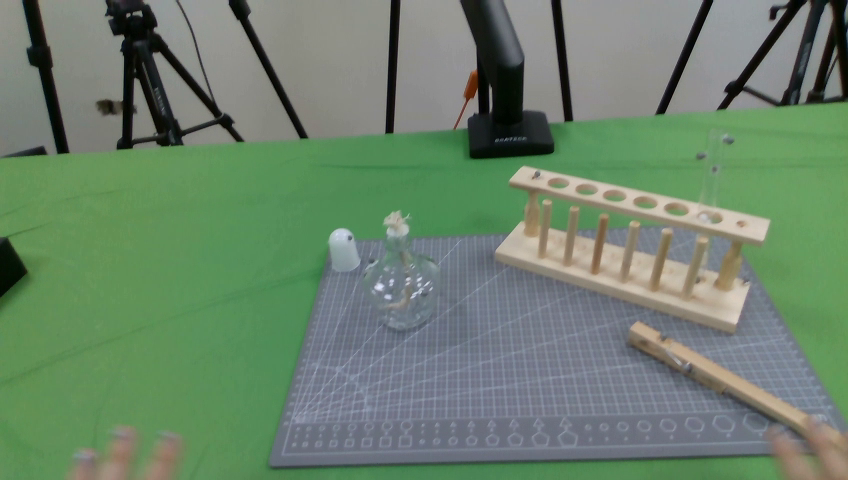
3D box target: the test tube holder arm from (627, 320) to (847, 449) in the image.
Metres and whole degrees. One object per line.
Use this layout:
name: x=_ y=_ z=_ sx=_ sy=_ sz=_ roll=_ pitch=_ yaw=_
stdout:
test tube holder arm: x=0.249 y=0.113 z=0.494 sx=0.176 sy=0.013 sz=0.015 roll=28 pitch=53 yaw=36

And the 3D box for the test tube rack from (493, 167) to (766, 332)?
test tube rack: x=0.191 y=0.002 z=0.601 sx=0.240 sy=0.086 sz=0.066 roll=17 pitch=42 yaw=28

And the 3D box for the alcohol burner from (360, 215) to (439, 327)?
alcohol burner: x=-0.025 y=0.025 z=0.574 sx=0.078 sy=0.120 sz=0.077 roll=-2 pitch=38 yaw=2

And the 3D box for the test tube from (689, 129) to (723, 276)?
test tube: x=0.254 y=-0.029 z=0.551 sx=0.017 sy=0.151 sz=0.017 roll=-7 pitch=33 yaw=5

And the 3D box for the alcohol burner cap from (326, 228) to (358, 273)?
alcohol burner cap: x=-0.092 y=0.009 z=0.667 sx=0.034 sy=0.048 sz=0.033 roll=-2 pitch=37 yaw=2

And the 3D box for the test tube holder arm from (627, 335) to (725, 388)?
test tube holder arm: x=0.218 y=0.102 z=0.524 sx=0.087 sy=0.010 sz=0.015 roll=23 pitch=50 yaw=41
